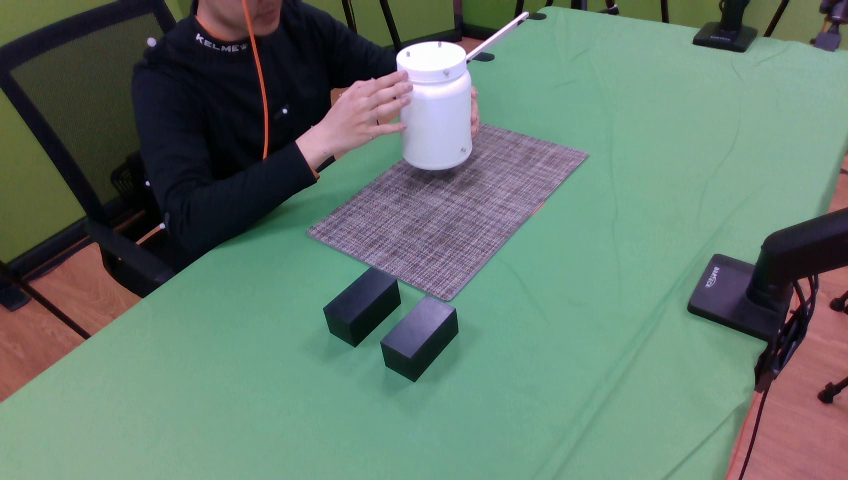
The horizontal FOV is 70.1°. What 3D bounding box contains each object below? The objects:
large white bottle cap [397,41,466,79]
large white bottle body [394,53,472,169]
[{"bbox_3d":[0.012,-0.296,0.990,0.115,0.018,0.114,-2,40,2],"label":"large white bottle cap"},{"bbox_3d":[0.017,-0.232,1.043,0.130,0.185,0.130,-3,39,3],"label":"large white bottle body"}]
